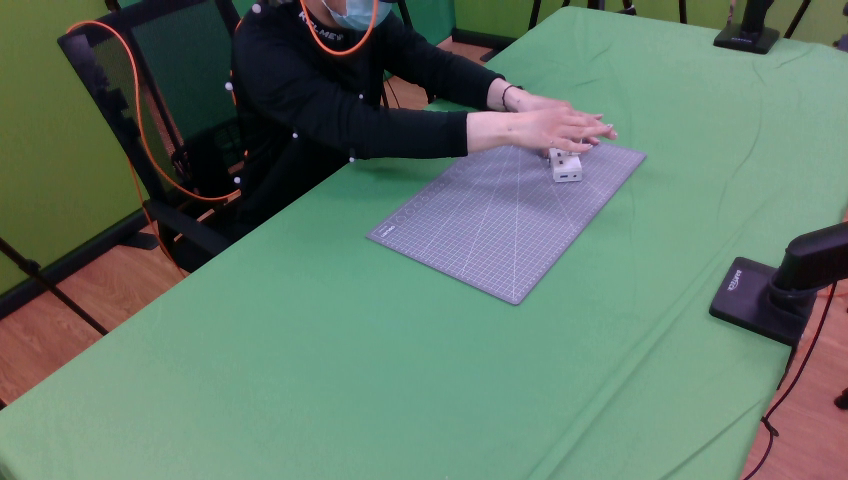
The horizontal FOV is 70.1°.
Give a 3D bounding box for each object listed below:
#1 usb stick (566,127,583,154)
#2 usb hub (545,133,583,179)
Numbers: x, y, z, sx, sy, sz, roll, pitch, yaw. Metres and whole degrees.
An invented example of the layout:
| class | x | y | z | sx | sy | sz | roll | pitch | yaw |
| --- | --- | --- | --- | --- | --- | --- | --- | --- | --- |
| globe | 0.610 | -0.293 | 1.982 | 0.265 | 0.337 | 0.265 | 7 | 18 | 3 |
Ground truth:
| class | x | y | z | sx | sy | sz | roll | pitch | yaw |
| --- | --- | --- | --- | --- | --- | --- | --- | --- | --- |
| usb stick | 0.267 | -0.171 | 1.077 | 0.027 | 0.059 | 0.021 | -2 | 37 | 1 |
| usb hub | 0.255 | -0.155 | 1.102 | 0.049 | 0.025 | 0.124 | 2 | 39 | -1 |
